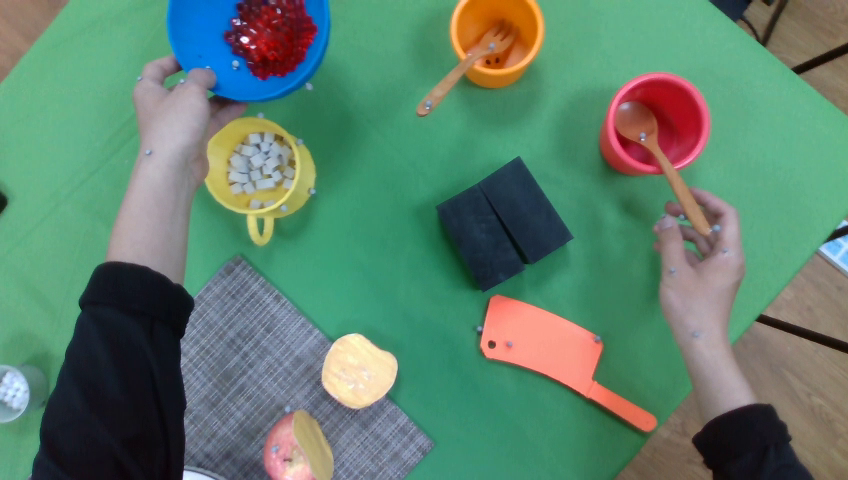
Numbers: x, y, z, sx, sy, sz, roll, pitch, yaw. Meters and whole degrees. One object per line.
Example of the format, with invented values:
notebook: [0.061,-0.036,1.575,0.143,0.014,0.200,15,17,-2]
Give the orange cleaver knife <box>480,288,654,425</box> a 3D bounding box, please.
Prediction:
orange cleaver knife: [0.155,0.123,0.645,0.211,0.012,0.077,28,85,4]

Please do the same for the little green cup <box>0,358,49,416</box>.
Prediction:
little green cup: [-0.451,0.160,0.669,0.061,0.038,0.061,0,89,4]

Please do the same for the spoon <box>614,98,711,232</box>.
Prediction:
spoon: [0.227,-0.078,0.581,0.041,0.191,0.022,-11,133,2]

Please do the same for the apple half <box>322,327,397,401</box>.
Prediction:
apple half: [-0.072,0.137,0.644,0.081,0.033,0.080,6,57,-9]

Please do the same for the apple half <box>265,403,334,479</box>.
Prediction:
apple half: [-0.135,0.216,0.630,0.053,0.074,0.081,-29,91,6]

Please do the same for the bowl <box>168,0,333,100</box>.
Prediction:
bowl: [-0.154,-0.202,0.580,0.151,0.077,0.151,0,91,4]

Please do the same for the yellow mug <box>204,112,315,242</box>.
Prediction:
yellow mug: [-0.172,-0.063,0.642,0.100,0.064,0.131,0,90,3]

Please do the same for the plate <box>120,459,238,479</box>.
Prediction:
plate: [-0.260,0.336,0.653,0.209,0.038,0.209,0,89,3]

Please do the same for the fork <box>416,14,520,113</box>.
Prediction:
fork: [0.046,-0.176,0.590,0.028,0.019,0.206,36,48,3]
